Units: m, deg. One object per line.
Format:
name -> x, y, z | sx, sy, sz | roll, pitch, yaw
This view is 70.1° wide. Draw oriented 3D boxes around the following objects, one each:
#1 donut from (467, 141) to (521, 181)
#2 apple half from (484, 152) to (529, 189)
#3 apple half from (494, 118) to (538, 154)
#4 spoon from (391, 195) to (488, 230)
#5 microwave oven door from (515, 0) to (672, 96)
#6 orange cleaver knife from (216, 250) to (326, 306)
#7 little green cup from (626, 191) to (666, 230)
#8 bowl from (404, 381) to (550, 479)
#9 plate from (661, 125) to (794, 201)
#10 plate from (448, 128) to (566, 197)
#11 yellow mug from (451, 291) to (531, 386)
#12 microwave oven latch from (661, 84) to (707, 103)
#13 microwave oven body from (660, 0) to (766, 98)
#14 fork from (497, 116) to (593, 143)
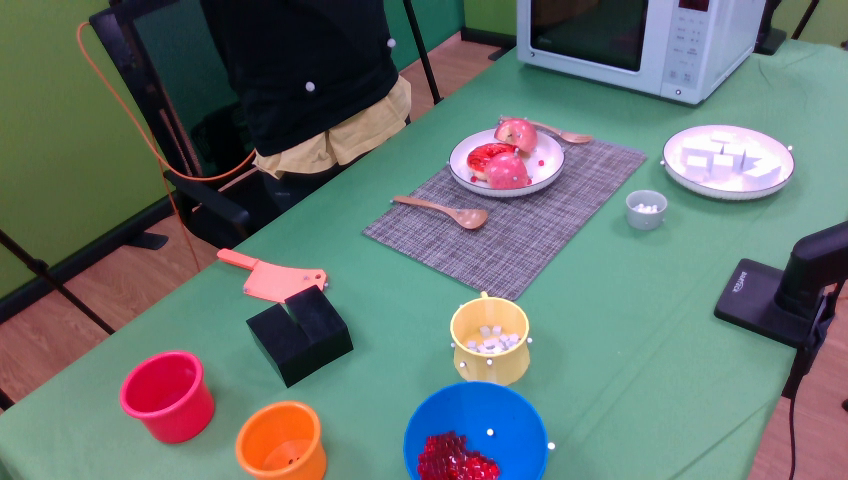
donut -> 0.127, -0.145, 1.091 | 0.099, 0.048, 0.098 | -5, 40, 5
apple half -> 0.144, -0.116, 1.032 | 0.081, 0.033, 0.081 | 3, 77, -11
apple half -> 0.175, -0.196, 1.114 | 0.080, 0.053, 0.075 | 29, 12, 34
spoon -> 0.023, -0.054, 1.029 | 0.192, 0.022, 0.041 | 18, 72, 26
microwave oven door -> 0.343, -0.455, 1.259 | 0.353, 0.245, 0.039 | 26, 51, 33
orange cleaver knife -> -0.248, 0.059, 0.945 | 0.210, 0.012, 0.077 | 12, 49, 20
little green cup -> 0.352, -0.046, 0.963 | 0.061, 0.039, 0.061 | -4, 40, 4
bowl -> 0.058, 0.235, 0.645 | 0.151, 0.077, 0.150 | -4, 39, 4
plate -> 0.514, -0.128, 1.035 | 0.207, 0.039, 0.206 | -4, 40, 4
plate -> 0.150, -0.138, 1.096 | 0.209, 0.038, 0.208 | -4, 40, 4
yellow mug -> 0.085, 0.120, 0.786 | 0.100, 0.064, 0.130 | -7, 39, 1
microwave oven latch -> 0.517, -0.296, 1.204 | 0.078, 0.029, 0.030 | 26, 51, 34
microwave oven body -> 0.473, -0.513, 1.317 | 0.438, 0.261, 0.327 | 26, 51, 34
fork -> 0.235, -0.221, 1.195 | 0.206, 0.019, 0.028 | 23, 56, 29
